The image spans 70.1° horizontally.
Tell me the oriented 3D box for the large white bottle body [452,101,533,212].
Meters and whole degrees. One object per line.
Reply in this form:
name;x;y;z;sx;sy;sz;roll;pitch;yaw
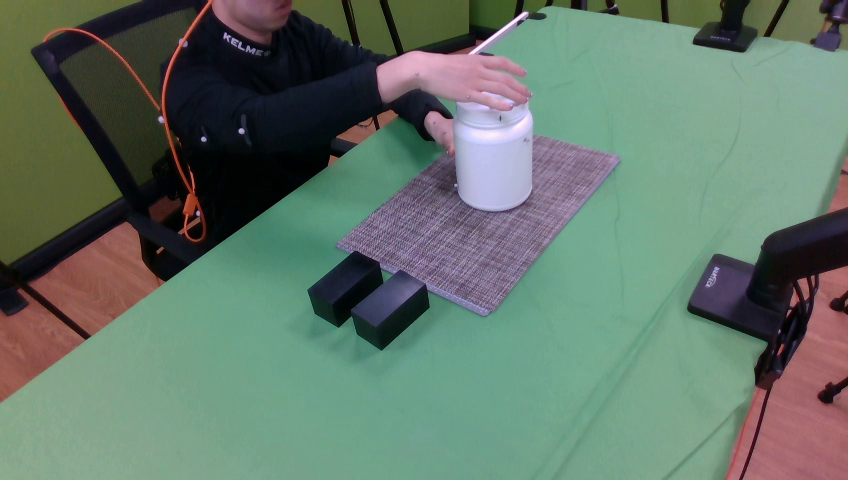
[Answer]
large white bottle body;0.115;-0.154;1.001;0.130;0.185;0.130;-4;41;4

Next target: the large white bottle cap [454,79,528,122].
large white bottle cap;0.105;-0.220;0.946;0.115;0.018;0.114;-3;40;3
